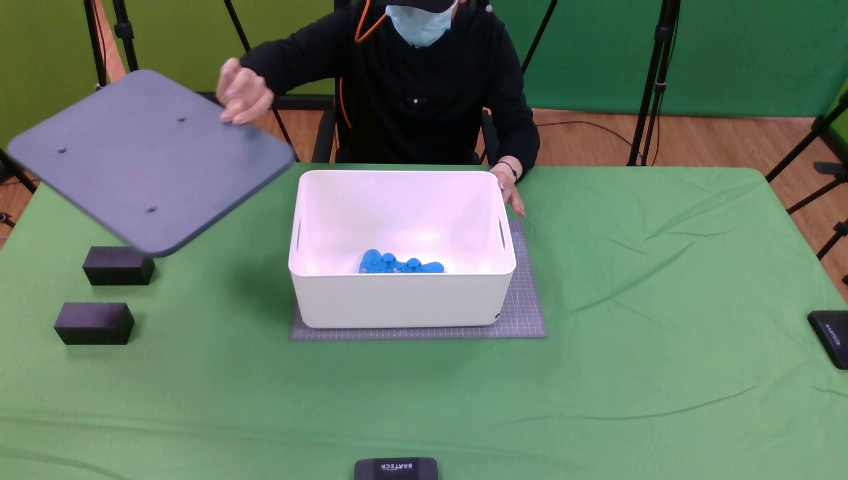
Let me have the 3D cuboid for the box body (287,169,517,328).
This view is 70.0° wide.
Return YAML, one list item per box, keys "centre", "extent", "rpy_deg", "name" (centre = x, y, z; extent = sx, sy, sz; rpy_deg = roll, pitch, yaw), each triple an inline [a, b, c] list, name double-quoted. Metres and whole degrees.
- centre: [-0.040, 0.015, 1.074]
  extent: [0.364, 0.161, 0.252]
  rpy_deg: [-1, 47, -4]
  name: "box body"

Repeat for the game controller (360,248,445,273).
- centre: [-0.043, 0.056, 1.107]
  extent: [0.155, 0.052, 0.096]
  rpy_deg: [12, 52, 8]
  name: "game controller"

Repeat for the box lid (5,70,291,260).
- centre: [-0.407, -0.128, 0.898]
  extent: [0.370, 0.015, 0.263]
  rpy_deg: [30, 56, 22]
  name: "box lid"
